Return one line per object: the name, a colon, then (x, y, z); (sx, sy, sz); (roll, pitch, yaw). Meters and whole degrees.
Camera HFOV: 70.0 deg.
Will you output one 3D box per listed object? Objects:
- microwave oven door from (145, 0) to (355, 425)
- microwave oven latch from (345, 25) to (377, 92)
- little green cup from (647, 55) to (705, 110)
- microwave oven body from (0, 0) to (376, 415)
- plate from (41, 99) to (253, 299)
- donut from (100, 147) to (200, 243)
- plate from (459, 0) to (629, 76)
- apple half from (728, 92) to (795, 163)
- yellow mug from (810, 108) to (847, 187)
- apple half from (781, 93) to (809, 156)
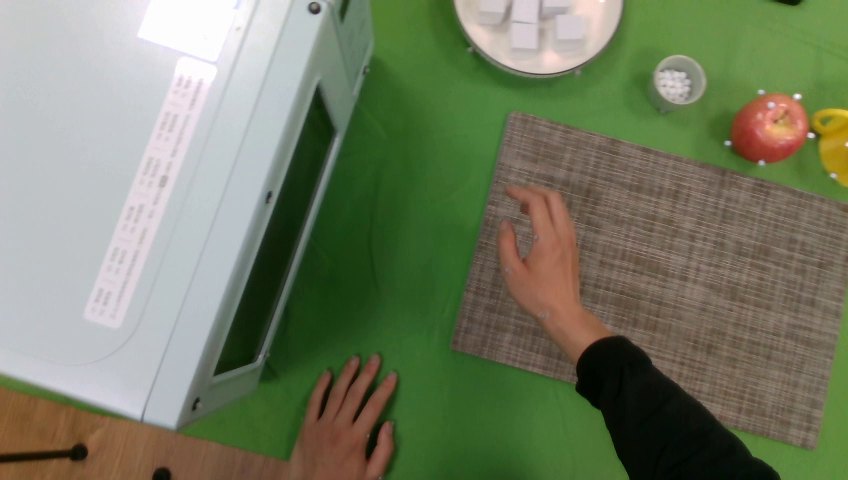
microwave oven door: (-0.148, -0.019, 0.581); (0.039, 0.244, 0.355); (19, 84, 0)
microwave oven latch: (-0.079, -0.215, 0.704); (0.030, 0.029, 0.079); (22, 85, -1)
little green cup: (0.305, -0.189, 0.739); (0.061, 0.038, 0.061); (0, 84, -2)
microwave oven body: (-0.272, -0.105, 0.589); (0.326, 0.260, 0.441); (19, 85, -1)
plate: (-0.283, -0.041, 0.633); (0.209, 0.038, 0.208); (0, 86, -4)
donut: (-0.280, -0.045, 0.621); (0.099, 0.048, 0.099); (0, 85, -2)
plate: (0.143, -0.298, 0.741); (0.208, 0.039, 0.207); (0, 85, -3)
apple half: (0.393, -0.130, 0.720); (0.053, 0.074, 0.080); (-11, 89, 1)
yellow mug: (0.530, -0.123, 0.728); (0.131, 0.064, 0.100); (27, 83, 1)
apple half: (0.432, -0.137, 0.721); (0.033, 0.081, 0.081); (-11, 85, 1)
